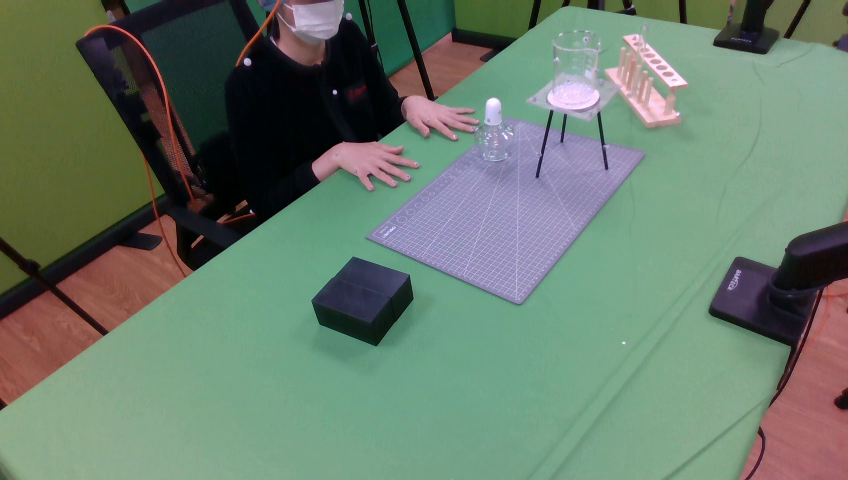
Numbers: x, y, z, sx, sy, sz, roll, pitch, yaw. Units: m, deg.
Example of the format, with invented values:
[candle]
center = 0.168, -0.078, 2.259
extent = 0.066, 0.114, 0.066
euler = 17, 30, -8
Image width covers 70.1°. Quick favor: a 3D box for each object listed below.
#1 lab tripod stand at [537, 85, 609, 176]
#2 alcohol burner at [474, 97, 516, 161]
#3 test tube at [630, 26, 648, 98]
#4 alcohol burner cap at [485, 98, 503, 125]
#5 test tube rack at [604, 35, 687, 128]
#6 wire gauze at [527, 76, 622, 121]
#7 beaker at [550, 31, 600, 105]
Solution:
[lab tripod stand]
center = 0.259, -0.192, 1.068
extent = 0.148, 0.132, 0.147
euler = -4, 43, 4
[alcohol burner]
center = 0.131, -0.208, 1.121
extent = 0.078, 0.119, 0.077
euler = -6, 40, 5
[test tube]
center = 0.427, -0.350, 1.199
extent = 0.017, 0.151, 0.017
euler = -4, 42, 4
[alcohol burner cap]
center = 0.126, -0.234, 1.097
extent = 0.034, 0.048, 0.033
euler = -3, 39, 3
[test tube rack]
center = 0.447, -0.330, 1.242
extent = 0.067, 0.085, 0.241
euler = -9, 41, -2
[wire gauze]
center = 0.255, -0.247, 1.030
extent = 0.124, 0.011, 0.122
euler = 23, 49, 34
[beaker]
center = 0.250, -0.281, 0.996
extent = 0.074, 0.101, 0.083
euler = -37, 49, -27
